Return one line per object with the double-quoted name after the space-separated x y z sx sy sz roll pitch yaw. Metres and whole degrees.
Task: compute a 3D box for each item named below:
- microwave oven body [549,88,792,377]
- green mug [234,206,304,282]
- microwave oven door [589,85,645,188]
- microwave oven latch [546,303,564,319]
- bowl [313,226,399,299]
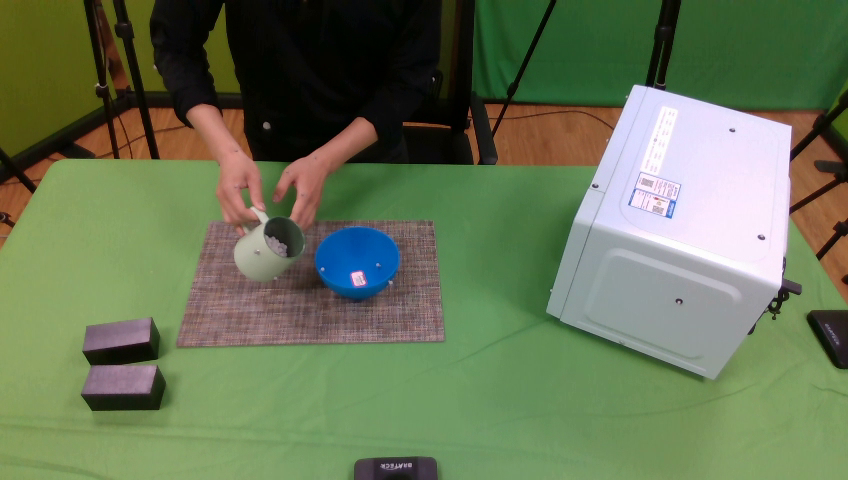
0.456 -0.028 1.088 0.325 0.261 0.440 20 47 16 "microwave oven body"
-0.273 0.001 1.034 0.092 0.105 0.125 -34 92 -48 "green mug"
0.342 -0.107 1.149 0.039 0.245 0.354 20 48 15 "microwave oven door"
0.242 0.102 1.081 0.030 0.029 0.079 21 48 17 "microwave oven latch"
-0.120 0.054 1.091 0.151 0.077 0.150 3 46 -3 "bowl"
